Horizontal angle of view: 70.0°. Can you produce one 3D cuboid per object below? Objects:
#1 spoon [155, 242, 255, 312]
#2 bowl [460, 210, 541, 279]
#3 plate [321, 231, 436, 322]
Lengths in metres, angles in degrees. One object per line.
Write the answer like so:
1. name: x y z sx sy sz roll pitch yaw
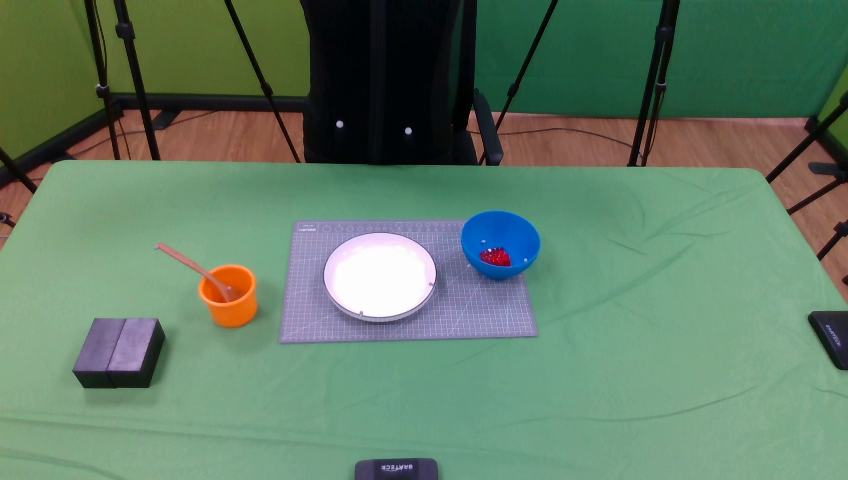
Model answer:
1. spoon: -0.366 0.061 1.021 0.021 0.195 0.041 -27 32 32
2. bowl: 0.140 0.021 1.145 0.151 0.077 0.150 2 46 -2
3. plate: -0.083 0.070 1.109 0.209 0.038 0.208 3 46 -3
